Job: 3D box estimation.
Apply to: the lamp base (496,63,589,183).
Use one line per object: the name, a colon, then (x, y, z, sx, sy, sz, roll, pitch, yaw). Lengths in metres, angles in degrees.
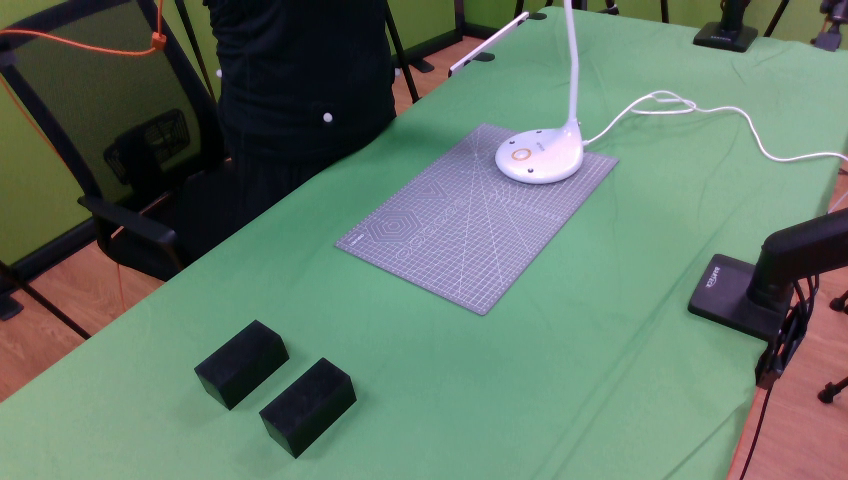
lamp base: (0.216, -0.217, 1.067, 0.180, 0.181, 0.159, -19, 42, -18)
